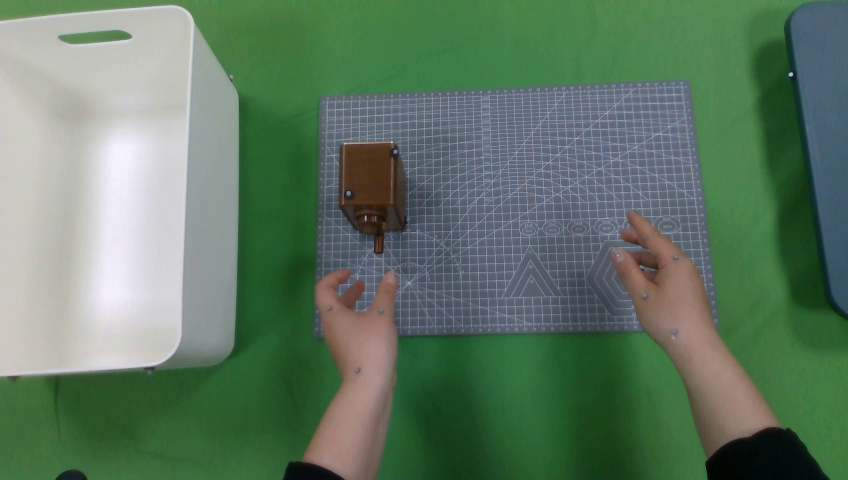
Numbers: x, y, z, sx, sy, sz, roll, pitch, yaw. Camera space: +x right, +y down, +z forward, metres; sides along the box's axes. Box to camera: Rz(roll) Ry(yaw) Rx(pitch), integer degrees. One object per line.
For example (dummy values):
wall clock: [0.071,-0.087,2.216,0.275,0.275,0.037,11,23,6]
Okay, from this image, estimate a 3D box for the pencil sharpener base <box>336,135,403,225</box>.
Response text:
pencil sharpener base: [-0.057,-0.059,0.665,0.061,0.107,0.076,-2,77,3]

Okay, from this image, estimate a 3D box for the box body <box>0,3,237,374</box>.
box body: [-0.345,-0.041,0.653,0.254,0.161,0.362,-5,77,2]

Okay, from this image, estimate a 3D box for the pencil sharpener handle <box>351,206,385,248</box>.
pencil sharpener handle: [-0.055,-0.012,0.642,0.036,0.068,0.030,-3,77,11]

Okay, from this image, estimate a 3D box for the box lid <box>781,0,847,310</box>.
box lid: [0.540,-0.109,0.649,0.263,0.015,0.369,-2,77,3]
